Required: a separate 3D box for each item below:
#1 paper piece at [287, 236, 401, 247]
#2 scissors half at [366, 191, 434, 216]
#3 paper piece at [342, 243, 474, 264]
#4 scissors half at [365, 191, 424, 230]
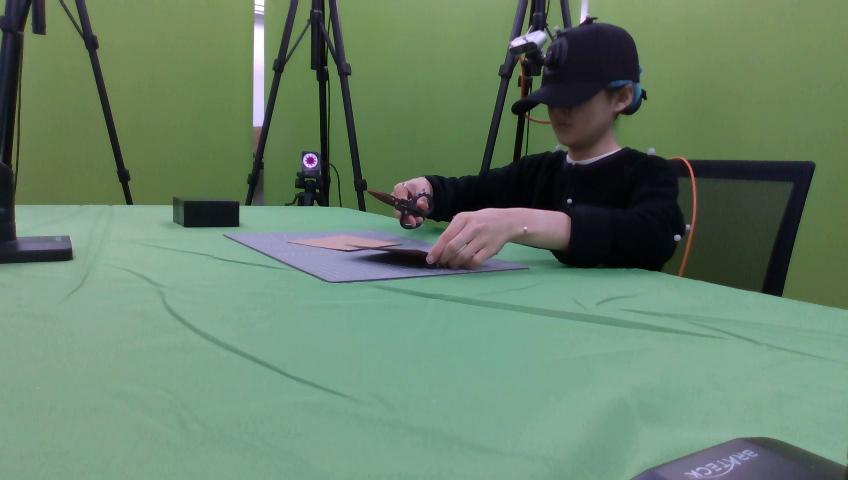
[{"bbox_3d":[-0.130,0.004,0.986,0.137,0.008,0.137,6,4,35],"label":"paper piece"},{"bbox_3d":[-0.037,-0.066,1.003,0.176,0.040,0.012,6,34,-53],"label":"scissors half"},{"bbox_3d":[-0.022,0.020,0.850,0.135,0.004,0.136,5,-6,39],"label":"paper piece"},{"bbox_3d":[-0.049,-0.050,1.008,0.013,0.040,0.176,40,4,32],"label":"scissors half"}]
